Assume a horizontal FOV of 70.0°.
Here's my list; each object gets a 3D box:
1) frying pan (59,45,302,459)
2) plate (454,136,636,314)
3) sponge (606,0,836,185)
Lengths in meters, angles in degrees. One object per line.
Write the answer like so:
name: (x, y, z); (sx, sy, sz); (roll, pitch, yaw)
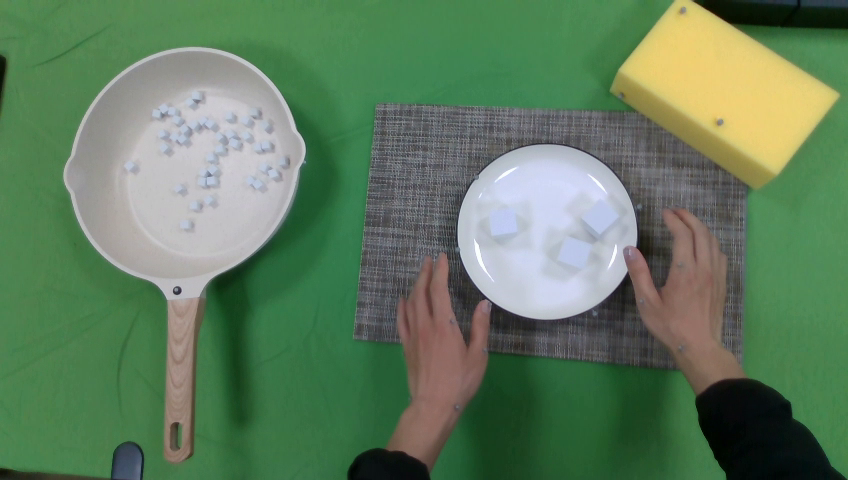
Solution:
frying pan: (-0.287, 0.007, 0.728); (0.306, 0.103, 0.485); (-5, 74, 7)
plate: (0.139, -0.017, 0.711); (0.207, 0.039, 0.207); (-1, 83, 7)
sponge: (0.334, -0.174, 0.698); (0.206, 0.061, 0.118); (38, 86, 11)
